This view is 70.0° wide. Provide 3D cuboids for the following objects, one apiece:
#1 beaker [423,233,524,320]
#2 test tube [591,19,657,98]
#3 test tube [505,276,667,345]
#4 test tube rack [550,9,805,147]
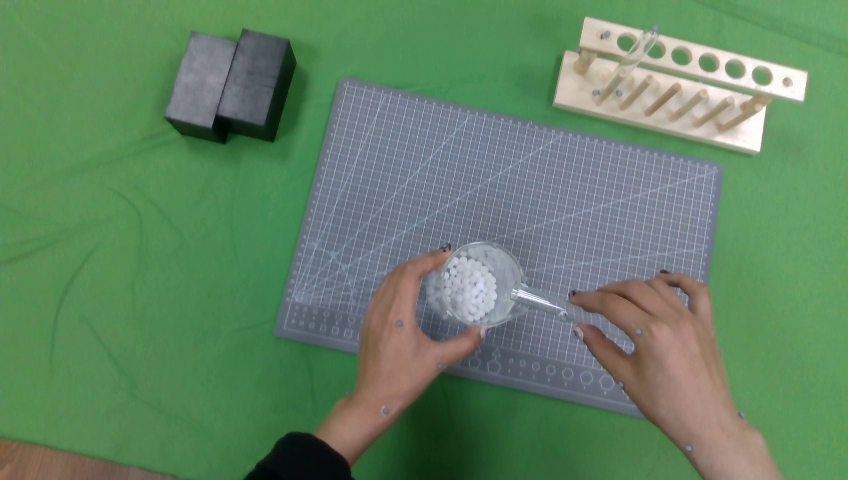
[{"bbox_3d":[0.042,0.039,0.556,0.084,0.100,0.074,30,80,-5],"label":"beaker"},{"bbox_3d":[0.201,-0.181,0.618,0.017,0.150,0.017,0,80,-2],"label":"test tube"},{"bbox_3d":[0.137,0.059,0.500,0.151,0.017,0.017,19,80,-13],"label":"test tube"},{"bbox_3d":[0.272,-0.174,0.666,0.242,0.085,0.066,13,80,-1],"label":"test tube rack"}]
